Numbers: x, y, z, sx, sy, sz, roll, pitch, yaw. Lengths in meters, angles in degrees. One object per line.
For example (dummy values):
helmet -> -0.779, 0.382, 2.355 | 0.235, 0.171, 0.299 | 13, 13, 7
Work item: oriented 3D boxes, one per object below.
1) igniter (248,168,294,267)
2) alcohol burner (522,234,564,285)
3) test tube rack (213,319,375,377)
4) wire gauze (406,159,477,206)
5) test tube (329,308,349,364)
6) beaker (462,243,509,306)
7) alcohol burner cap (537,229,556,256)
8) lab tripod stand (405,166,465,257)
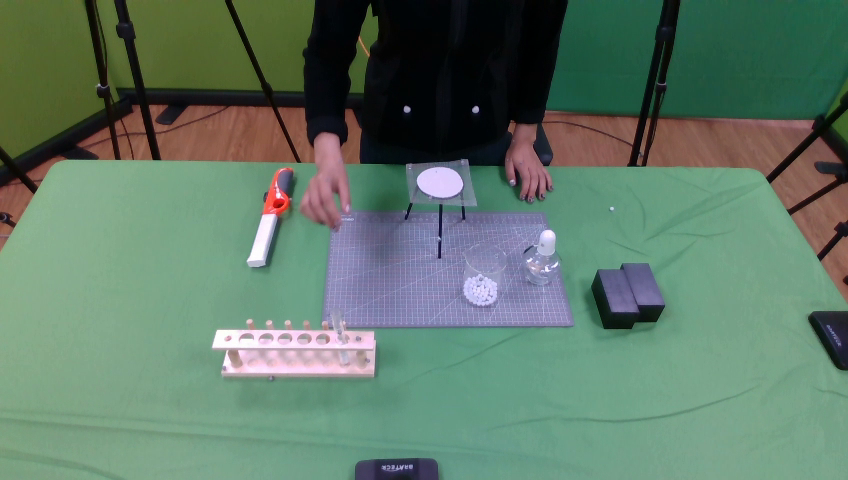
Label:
igniter -> -0.308, -0.055, 1.225 | 0.057, 0.025, 0.275 | -3, 45, 7
alcohol burner -> 0.223, 0.027, 1.120 | 0.078, 0.119, 0.077 | 2, 48, -2
test tube rack -> -0.202, 0.170, 0.976 | 0.242, 0.085, 0.066 | 1, 46, -3
wire gauze -> 0.031, -0.108, 1.129 | 0.125, 0.011, 0.120 | -1, 48, -5
test tube -> -0.129, 0.151, 0.931 | 0.017, 0.151, 0.017 | 0, 50, 0
beaker -> 0.105, 0.064, 1.086 | 0.084, 0.101, 0.073 | 18, 47, 14
alcohol burner cap -> 0.223, 0.001, 1.095 | 0.034, 0.048, 0.033 | -1, 44, 1
lab tripod stand -> 0.030, -0.063, 1.180 | 0.148, 0.132, 0.147 | 3, 47, -3
